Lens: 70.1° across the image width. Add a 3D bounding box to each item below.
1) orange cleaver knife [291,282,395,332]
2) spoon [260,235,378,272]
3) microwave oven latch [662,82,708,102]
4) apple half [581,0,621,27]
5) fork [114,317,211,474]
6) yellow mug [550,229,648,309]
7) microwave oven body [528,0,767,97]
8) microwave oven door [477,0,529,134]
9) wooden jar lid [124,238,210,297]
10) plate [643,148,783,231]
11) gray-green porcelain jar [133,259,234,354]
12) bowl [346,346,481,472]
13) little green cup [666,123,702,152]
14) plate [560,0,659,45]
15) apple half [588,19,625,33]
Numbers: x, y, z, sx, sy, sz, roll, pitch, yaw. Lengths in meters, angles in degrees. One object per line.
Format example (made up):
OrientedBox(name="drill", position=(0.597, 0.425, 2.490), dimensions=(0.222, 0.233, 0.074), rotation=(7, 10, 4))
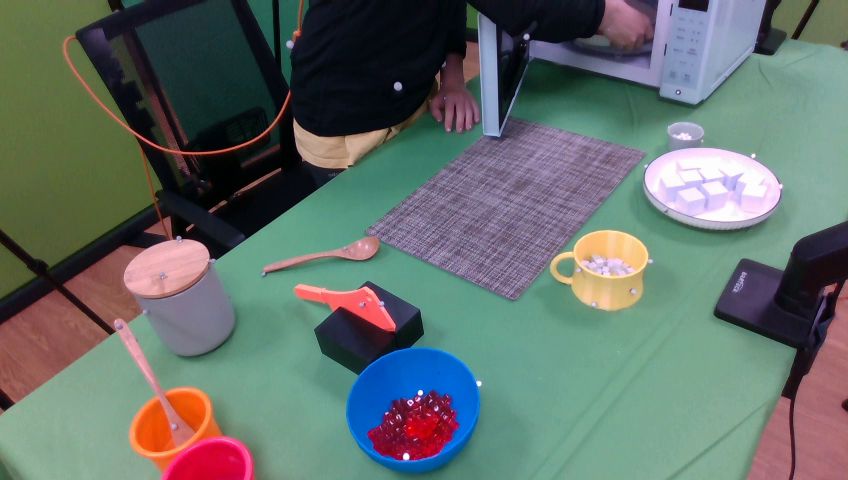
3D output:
OrientedBox(name="orange cleaver knife", position=(-0.116, 0.091, 0.835), dimensions=(0.209, 0.077, 0.012), rotation=(1, 32, 47))
OrientedBox(name="spoon", position=(-0.168, 0.024, 0.966), dimensions=(0.194, 0.022, 0.041), rotation=(-10, 57, -3))
OrientedBox(name="microwave oven latch", position=(0.518, -0.298, 1.202), dimensions=(0.078, 0.029, 0.030), rotation=(28, 53, 35))
OrientedBox(name="apple half", position=(0.388, -0.510, 1.334), dimensions=(0.081, 0.053, 0.074), rotation=(-36, 36, -18))
OrientedBox(name="fork", position=(-0.309, 0.180, 0.708), dimensions=(0.028, 0.018, 0.207), rotation=(-29, 89, -25))
OrientedBox(name="yellow mug", position=(0.245, 0.040, 0.856), dimensions=(0.130, 0.064, 0.099), rotation=(1, 42, 11))
OrientedBox(name="microwave oven body", position=(0.473, -0.516, 1.313), dimensions=(0.438, 0.261, 0.327), rotation=(26, 51, 34))
OrientedBox(name="microwave oven door", position=(0.168, -0.412, 1.229), dimensions=(0.039, 0.245, 0.355), rotation=(8, 43, 16))
OrientedBox(name="wooden jar lid", position=(-0.335, 0.039, 0.794), dimensions=(0.108, 0.021, 0.108), rotation=(-2, 40, 2))
OrientedBox(name="plate", position=(0.465, -0.080, 0.986), dimensions=(0.207, 0.039, 0.206), rotation=(-4, 41, 4))
OrientedBox(name="gray-green porcelain jar", position=(-0.328, 0.087, 0.836), dimensions=(0.106, 0.127, 0.105), rotation=(-4, 41, 4))
OrientedBox(name="bowl", position=(-0.008, 0.205, 0.691), dimensions=(0.151, 0.077, 0.150), rotation=(-4, 40, 4))
OrientedBox(name="little green cup", position=(0.472, -0.183, 1.103), dimensions=(0.061, 0.039, 0.061), rotation=(-5, 38, 5))
OrientedBox(name="plate", position=(0.402, -0.476, 1.323), dimensions=(0.209, 0.038, 0.208), rotation=(-5, 41, 4))
OrientedBox(name="apple half", position=(0.387, -0.451, 1.280), dimensions=(0.081, 0.033, 0.081), rotation=(1, 37, 0))
